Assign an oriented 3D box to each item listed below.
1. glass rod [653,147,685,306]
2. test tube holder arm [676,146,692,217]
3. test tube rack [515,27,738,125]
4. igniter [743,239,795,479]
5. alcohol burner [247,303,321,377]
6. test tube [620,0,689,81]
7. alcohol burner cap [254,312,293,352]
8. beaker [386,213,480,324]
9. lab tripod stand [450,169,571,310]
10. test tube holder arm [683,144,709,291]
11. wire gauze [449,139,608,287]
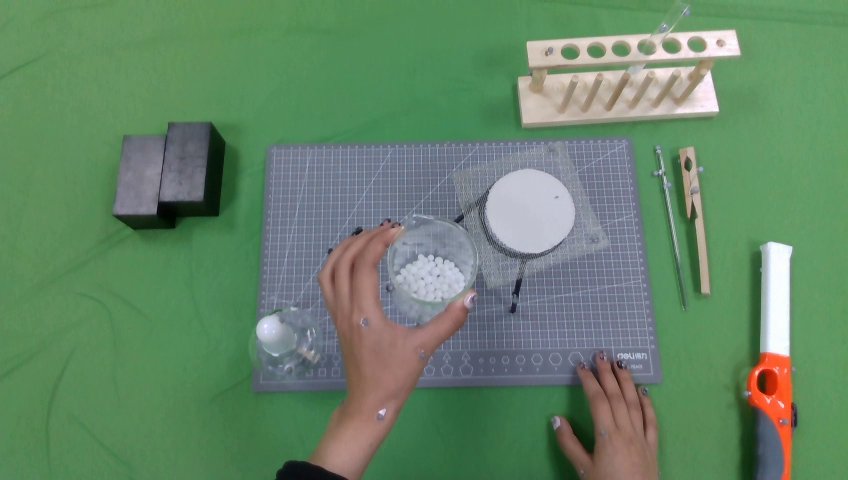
[{"bbox_3d":[0.288,-0.020,0.716,0.008,0.008,0.198,-2,73,-1],"label":"glass rod"},{"bbox_3d":[0.313,-0.070,0.727,0.010,0.015,0.087,-11,71,32],"label":"test tube holder arm"},{"bbox_3d":[0.238,-0.195,0.728,0.242,0.085,0.066,-3,73,0],"label":"test tube rack"},{"bbox_3d":[0.377,0.132,0.661,0.057,0.025,0.275,13,74,-6],"label":"igniter"},{"bbox_3d":[-0.148,0.100,0.625,0.078,0.120,0.077,0,71,1],"label":"alcohol burner"},{"bbox_3d":[0.256,-0.226,0.686,0.017,0.151,0.017,2,72,-5],"label":"test tube"},{"bbox_3d":[-0.149,0.087,0.591,0.034,0.048,0.033,1,63,-1],"label":"alcohol burner cap"},{"bbox_3d":[0.003,0.029,0.531,0.074,0.101,0.083,-23,74,-10],"label":"beaker"},{"bbox_3d":[0.094,-0.009,0.646,0.148,0.132,0.147,-1,74,2],"label":"lab tripod stand"},{"bbox_3d":[0.319,-0.028,0.712,0.013,0.015,0.177,-11,71,32],"label":"test tube holder arm"},{"bbox_3d":[0.098,-0.030,0.582,0.121,0.011,0.124,-17,74,-3],"label":"wire gauze"}]
